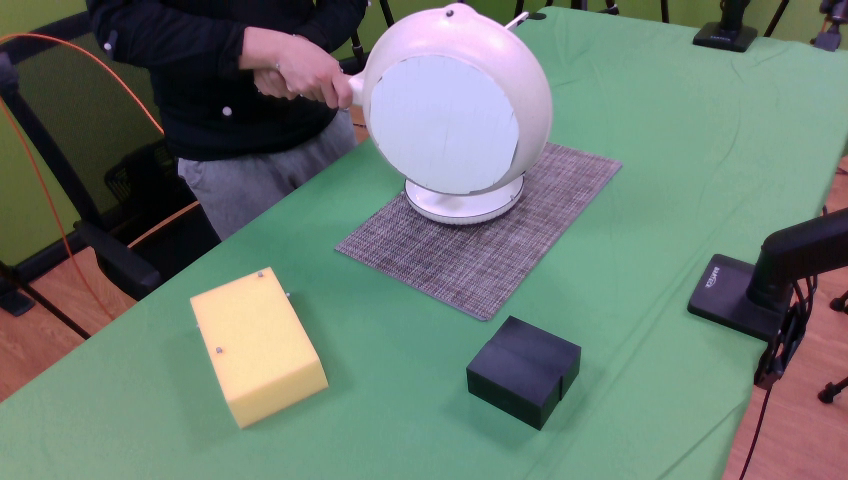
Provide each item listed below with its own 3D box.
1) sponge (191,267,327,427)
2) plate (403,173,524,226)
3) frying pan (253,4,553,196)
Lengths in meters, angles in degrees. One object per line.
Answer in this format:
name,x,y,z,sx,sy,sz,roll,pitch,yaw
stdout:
sponge,-0.226,0.135,0.814,0.119,0.061,0.205,-23,43,-19
plate,0.069,-0.089,1.044,0.207,0.039,0.206,-4,41,4
frying pan,-0.056,-0.212,0.912,0.485,0.308,0.103,20,45,19
